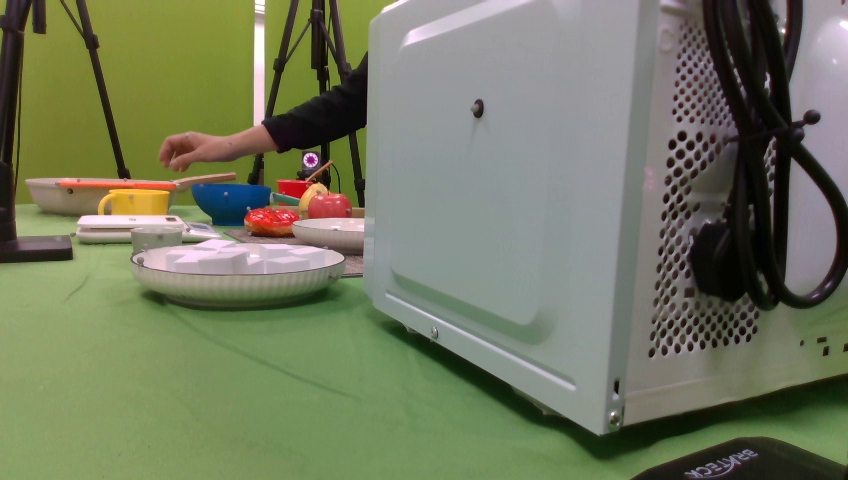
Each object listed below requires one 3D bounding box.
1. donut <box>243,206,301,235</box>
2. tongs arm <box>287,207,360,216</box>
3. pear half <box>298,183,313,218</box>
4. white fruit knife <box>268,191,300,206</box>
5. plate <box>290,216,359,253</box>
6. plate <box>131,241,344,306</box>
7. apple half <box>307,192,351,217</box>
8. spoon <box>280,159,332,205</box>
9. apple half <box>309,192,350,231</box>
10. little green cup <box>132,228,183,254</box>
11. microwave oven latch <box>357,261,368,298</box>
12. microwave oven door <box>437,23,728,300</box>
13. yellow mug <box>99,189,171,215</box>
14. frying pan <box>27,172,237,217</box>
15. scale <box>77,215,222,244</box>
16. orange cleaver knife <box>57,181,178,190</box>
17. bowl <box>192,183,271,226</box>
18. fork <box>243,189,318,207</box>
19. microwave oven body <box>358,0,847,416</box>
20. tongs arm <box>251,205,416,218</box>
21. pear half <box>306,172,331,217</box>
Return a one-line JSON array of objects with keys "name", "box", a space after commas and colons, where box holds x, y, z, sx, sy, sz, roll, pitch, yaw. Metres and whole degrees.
[{"name": "donut", "box": [-0.261, -0.032, 1.043, 0.099, 0.048, 0.099, 3, 9, 0]}, {"name": "tongs arm", "box": [-0.174, -0.061, 1.363, 0.387, 0.026, 0.050, -1, 3, -31]}, {"name": "pear half", "box": [-0.235, -0.071, 1.207, 0.031, 0.088, 0.070, 3, 10, 0]}, {"name": "white fruit knife", "box": [-0.364, -0.105, 1.464, 0.208, 0.027, 0.016, 15, 0, -34]}, {"name": "plate", "box": [-0.103, -0.009, 0.945, 0.209, 0.038, 0.209, 2, 8, 0]}, {"name": "plate", "box": [-0.187, 0.033, 0.625, 0.208, 0.039, 0.207, 2, 8, 0]}, {"name": "apple half", "box": [-0.174, -0.049, 1.087, 0.081, 0.074, 0.053, 6, 10, 2]}, {"name": "spoon", "box": [-0.317, -0.159, 1.640, 0.194, 0.022, 0.041, -49, 32, -20]}, {"name": "apple half", "box": [-0.173, -0.055, 1.125, 0.081, 0.081, 0.033, 2, 10, 3]}, {"name": "little green cup", "box": [-0.342, 0.006, 0.779, 0.061, 0.038, 0.061, 2, 8, 0]}, {"name": "microwave oven latch", "box": [-0.019, 0.033, 0.530, 0.079, 0.029, 0.030, -1, 7, -27]}, {"name": "microwave oven door", "box": [0.181, -0.073, 0.621, 0.358, 0.243, 0.039, -2, 8, -29]}, {"name": "yellow mug", "box": [-0.518, -0.055, 1.080, 0.099, 0.064, 0.131, 6, 9, 26]}, {"name": "frying pan", "box": [-0.624, -0.118, 1.387, 0.305, 0.102, 0.490, 8, 17, 32]}, {"name": "scale", "box": [-0.434, -0.019, 0.963, 0.202, 0.031, 0.148, -1, 9, -27]}, {"name": "orange cleaver knife", "box": [-0.600, -0.109, 1.189, 0.212, 0.012, 0.077, -1, 11, -26]}, {"name": "bowl", "box": [-0.382, -0.071, 1.202, 0.151, 0.077, 0.151, 3, 7, 0]}, {"name": "fork", "box": [-0.356, -0.105, 1.526, 0.208, 0.018, 0.028, 16, -6, -41]}, {"name": "microwave oven body", "box": [0.211, -0.047, 0.474, 0.444, 0.260, 0.324, -1, 7, -28]}, {"name": "tongs arm", "box": [-0.210, -0.068, 1.440, 0.389, 0.027, 0.028, 0, -1, -17]}, {"name": "pear half", "box": [-0.199, -0.080, 1.203, 0.056, 0.110, 0.076, 2, 11, 2]}]
